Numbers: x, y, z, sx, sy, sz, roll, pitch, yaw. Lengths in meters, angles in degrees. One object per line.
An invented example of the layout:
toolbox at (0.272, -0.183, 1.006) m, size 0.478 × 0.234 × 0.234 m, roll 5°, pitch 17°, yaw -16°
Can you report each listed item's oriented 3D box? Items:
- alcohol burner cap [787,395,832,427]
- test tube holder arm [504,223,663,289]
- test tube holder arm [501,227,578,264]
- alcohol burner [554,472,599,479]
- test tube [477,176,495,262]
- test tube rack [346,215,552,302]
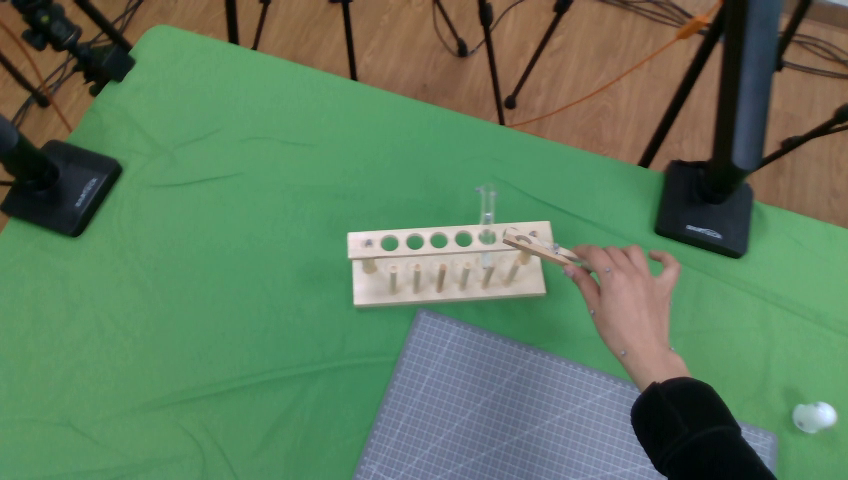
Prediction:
alcohol burner cap at (0.453, 0.198, 0.707) m, size 0.034 × 0.048 × 0.033 m, roll 1°, pitch 65°, yaw -1°
test tube holder arm at (0.171, 0.017, 0.657) m, size 0.178 × 0.015 × 0.013 m, roll 19°, pitch 77°, yaw 8°
test tube holder arm at (0.127, 0.007, 0.661) m, size 0.087 × 0.015 × 0.010 m, roll 20°, pitch 77°, yaw 8°
alcohol burner at (0.163, 0.277, 0.619) m, size 0.078 × 0.120 × 0.077 m, roll 1°, pitch 67°, yaw -2°
test tube at (0.071, -0.019, 0.708) m, size 0.017 × 0.151 × 0.017 m, roll -1°, pitch 54°, yaw 2°
test tube rack at (0.030, 0.024, 0.744) m, size 0.242 × 0.086 × 0.066 m, roll -3°, pitch 66°, yaw -4°
